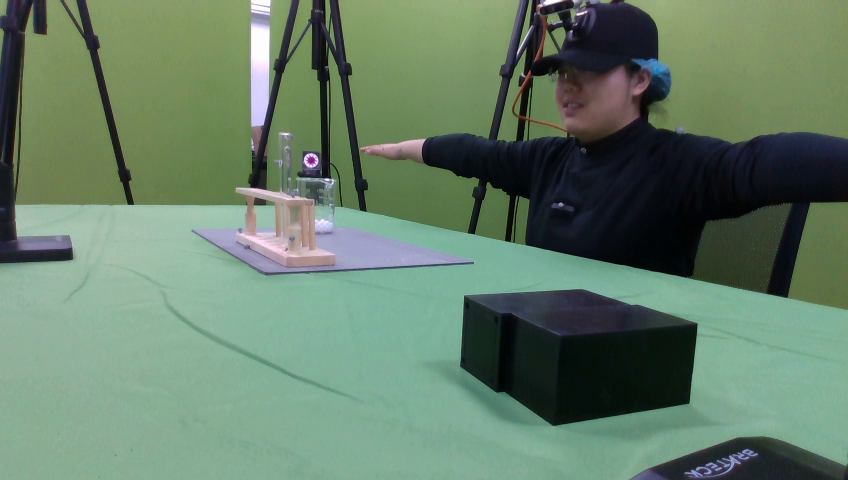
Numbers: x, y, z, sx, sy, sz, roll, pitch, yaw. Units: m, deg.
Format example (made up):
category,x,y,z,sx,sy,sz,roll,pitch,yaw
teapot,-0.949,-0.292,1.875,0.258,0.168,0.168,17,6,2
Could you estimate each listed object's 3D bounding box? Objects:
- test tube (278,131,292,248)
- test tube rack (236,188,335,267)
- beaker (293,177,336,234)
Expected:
category,x,y,z,sx,sy,sz,roll,pitch,yaw
test tube,-0.178,-0.063,0.776,0.017,0.150,0.017,2,11,0
test tube rack,-0.202,-0.025,0.855,0.067,0.085,0.241,-2,9,-31
beaker,-0.197,-0.063,1.107,0.083,0.100,0.074,10,11,40
